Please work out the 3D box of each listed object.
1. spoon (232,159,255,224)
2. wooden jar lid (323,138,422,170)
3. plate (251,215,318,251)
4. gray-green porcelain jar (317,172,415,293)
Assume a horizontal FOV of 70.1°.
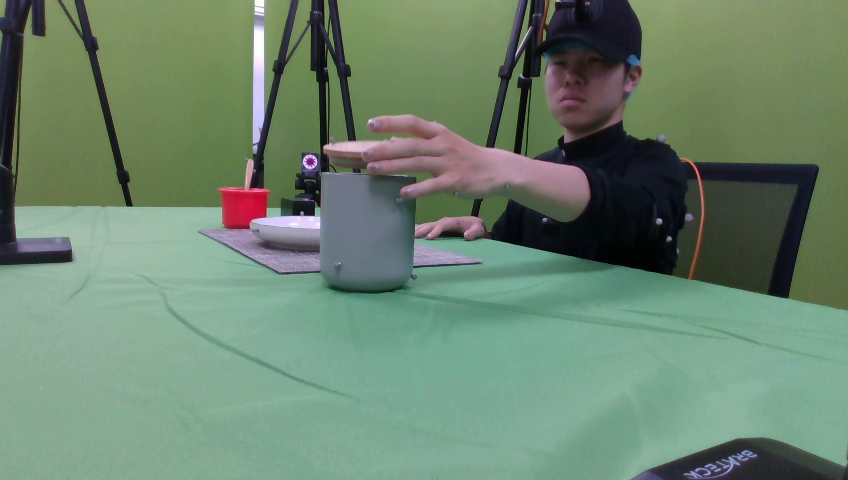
[{"bbox_3d":[-0.356,-0.101,1.218,0.042,0.021,0.193,2,51,-9],"label":"spoon"},{"bbox_3d":[-0.056,-0.095,0.662,0.108,0.020,0.108,0,17,0],"label":"wooden jar lid"},{"bbox_3d":[-0.170,-0.012,0.971,0.208,0.039,0.207,3,7,0],"label":"plate"},{"bbox_3d":[-0.065,-0.010,0.671,0.106,0.126,0.106,2,7,0],"label":"gray-green porcelain jar"}]
